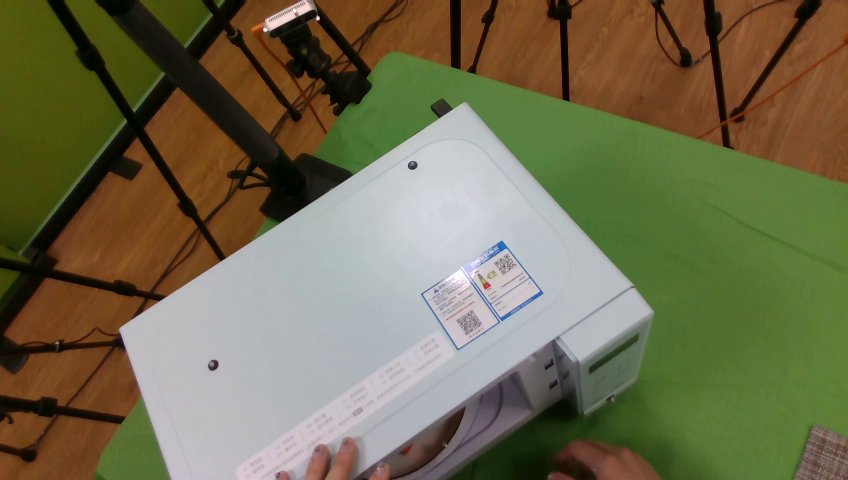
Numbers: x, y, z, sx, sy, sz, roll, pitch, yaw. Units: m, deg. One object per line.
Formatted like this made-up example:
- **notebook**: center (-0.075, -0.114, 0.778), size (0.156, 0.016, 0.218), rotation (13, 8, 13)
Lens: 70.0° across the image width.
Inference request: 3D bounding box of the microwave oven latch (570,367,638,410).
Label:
- **microwave oven latch**: center (0.208, 0.163, 0.700), size (0.079, 0.030, 0.030), rotation (-33, 61, -2)

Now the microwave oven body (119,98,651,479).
- **microwave oven body**: center (-0.037, 0.116, 0.678), size (0.442, 0.263, 0.322), rotation (-34, 61, -3)
